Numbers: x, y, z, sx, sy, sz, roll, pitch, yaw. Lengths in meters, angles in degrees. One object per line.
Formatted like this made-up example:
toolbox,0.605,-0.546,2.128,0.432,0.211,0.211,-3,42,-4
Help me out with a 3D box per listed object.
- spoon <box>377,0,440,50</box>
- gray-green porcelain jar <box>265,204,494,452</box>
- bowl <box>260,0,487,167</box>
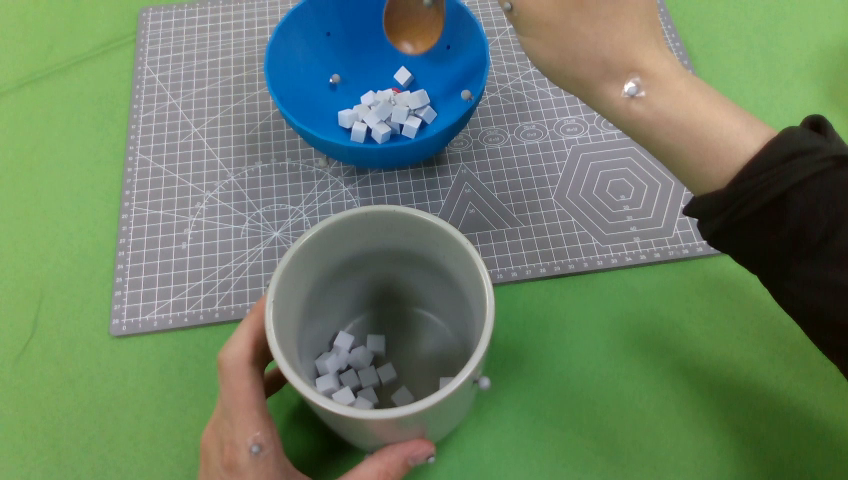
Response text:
spoon,0.012,-0.158,0.325,0.042,0.193,0.021,36,72,-9
gray-green porcelain jar,-0.019,0.056,0.331,0.106,0.127,0.105,0,63,1
bowl,-0.032,-0.105,0.434,0.151,0.077,0.150,0,63,1
